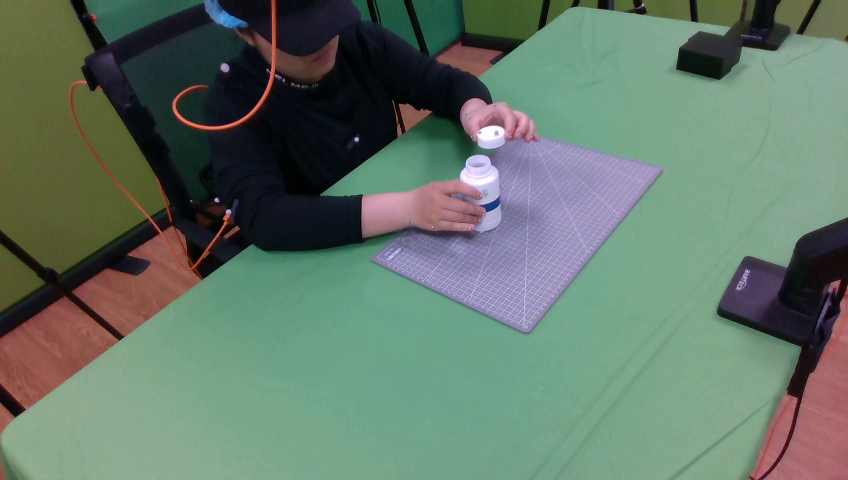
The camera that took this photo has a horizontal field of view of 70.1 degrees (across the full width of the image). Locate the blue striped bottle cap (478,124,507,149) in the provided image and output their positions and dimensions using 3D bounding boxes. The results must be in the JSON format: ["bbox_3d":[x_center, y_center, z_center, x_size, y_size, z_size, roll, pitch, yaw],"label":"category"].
[{"bbox_3d":[0.106,-0.161,0.939,0.044,0.021,0.044,-7,42,7],"label":"blue striped bottle cap"}]

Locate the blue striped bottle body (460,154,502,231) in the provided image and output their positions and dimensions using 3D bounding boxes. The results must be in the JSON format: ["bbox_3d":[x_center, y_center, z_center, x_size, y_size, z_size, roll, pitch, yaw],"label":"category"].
[{"bbox_3d":[0.092,-0.078,0.977,0.063,0.121,0.063,-6,40,6],"label":"blue striped bottle body"}]
